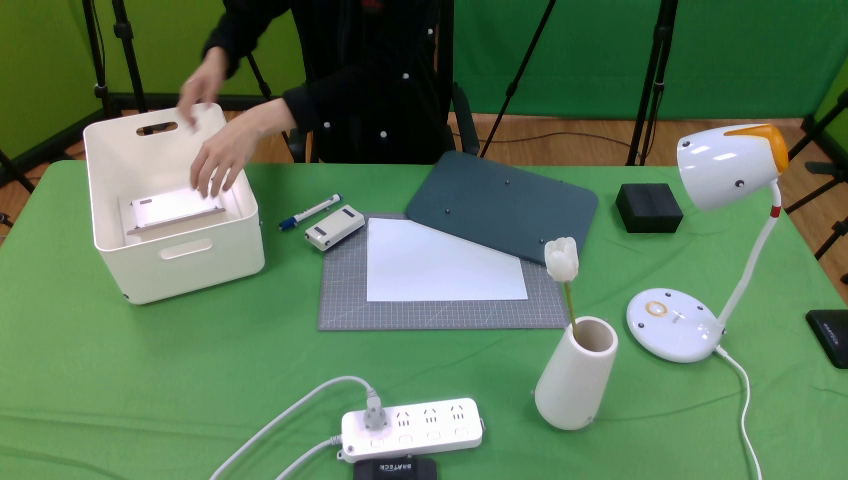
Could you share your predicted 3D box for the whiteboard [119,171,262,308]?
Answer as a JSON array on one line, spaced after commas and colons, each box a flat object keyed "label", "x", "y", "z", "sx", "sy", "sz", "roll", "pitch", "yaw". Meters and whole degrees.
[{"label": "whiteboard", "x": -0.464, "y": -0.060, "z": 1.136, "sx": 0.217, "sy": 0.144, "sz": 0.303, "roll": -19, "pitch": 51, "yaw": -17}]

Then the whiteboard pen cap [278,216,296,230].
[{"label": "whiteboard pen cap", "x": -0.273, "y": -0.034, "z": 1.213, "sx": 0.033, "sy": 0.018, "sz": 0.018, "roll": -32, "pitch": 56, "yaw": -31}]

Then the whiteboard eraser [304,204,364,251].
[{"label": "whiteboard eraser", "x": -0.175, "y": -0.022, "z": 1.188, "sx": 0.055, "sy": 0.042, "sz": 0.112, "roll": 36, "pitch": 54, "yaw": 26}]

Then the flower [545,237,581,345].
[{"label": "flower", "x": 0.213, "y": 0.137, "z": 0.846, "sx": 0.038, "sy": 0.364, "sz": 0.044, "roll": 22, "pitch": 55, "yaw": 40}]

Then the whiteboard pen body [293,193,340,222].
[{"label": "whiteboard pen body", "x": -0.231, "y": -0.062, "z": 1.243, "sx": 0.141, "sy": 0.017, "sz": 0.017, "roll": -32, "pitch": 56, "yaw": -30}]

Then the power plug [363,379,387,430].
[{"label": "power plug", "x": -0.071, "y": 0.252, "z": 0.911, "sx": 0.035, "sy": 0.053, "sz": 0.072, "roll": 3, "pitch": 40, "yaw": 0}]

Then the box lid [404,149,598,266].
[{"label": "box lid", "x": 0.171, "y": -0.073, "z": 1.290, "sx": 0.371, "sy": 0.015, "sz": 0.262, "roll": 19, "pitch": 47, "yaw": 14}]

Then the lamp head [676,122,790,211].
[{"label": "lamp head", "x": 0.423, "y": -0.104, "z": 0.819, "sx": 0.122, "sy": 0.113, "sz": 0.112, "roll": -13, "pitch": 33, "yaw": 40}]

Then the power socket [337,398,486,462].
[{"label": "power socket", "x": -0.018, "y": 0.285, "z": 0.914, "sx": 0.227, "sy": 0.033, "sz": 0.071, "roll": -4, "pitch": 46, "yaw": -8}]

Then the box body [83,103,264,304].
[{"label": "box body", "x": -0.465, "y": -0.077, "z": 1.137, "sx": 0.254, "sy": 0.161, "sz": 0.361, "roll": -16, "pitch": 50, "yaw": -19}]

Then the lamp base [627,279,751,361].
[{"label": "lamp base", "x": 0.460, "y": 0.100, "z": 1.027, "sx": 0.178, "sy": 0.181, "sz": 0.160, "roll": 27, "pitch": 51, "yaw": 17}]

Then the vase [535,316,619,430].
[{"label": "vase", "x": 0.229, "y": 0.200, "z": 0.900, "sx": 0.098, "sy": 0.201, "sz": 0.097, "roll": 3, "pitch": 46, "yaw": -3}]
